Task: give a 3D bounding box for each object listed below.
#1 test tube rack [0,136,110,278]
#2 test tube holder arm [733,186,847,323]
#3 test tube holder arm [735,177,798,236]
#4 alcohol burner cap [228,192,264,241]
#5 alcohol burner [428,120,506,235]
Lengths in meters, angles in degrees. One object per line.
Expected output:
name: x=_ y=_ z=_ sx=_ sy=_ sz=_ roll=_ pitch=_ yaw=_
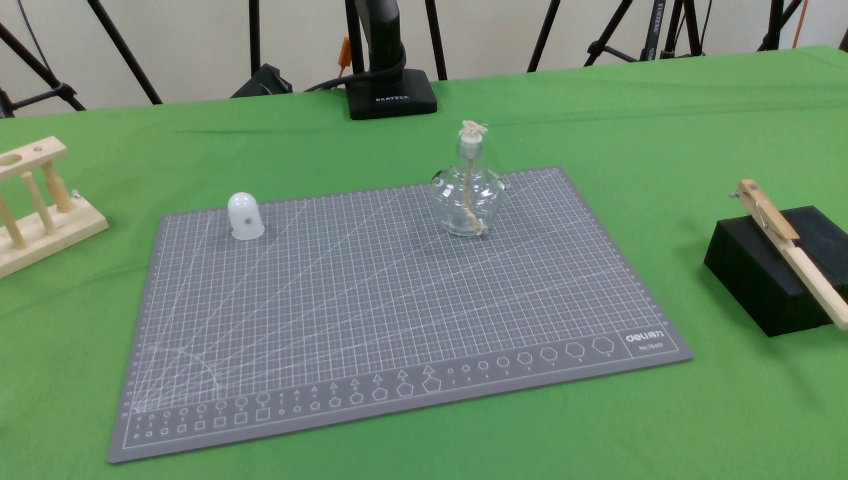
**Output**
test tube rack: x=-0.436 y=-0.004 z=0.558 sx=0.066 sy=0.086 sz=0.242 roll=31 pitch=49 yaw=32
test tube holder arm: x=0.307 y=0.004 z=0.511 sx=0.015 sy=0.013 sz=0.176 roll=-2 pitch=39 yaw=-2
test tube holder arm: x=0.305 y=-0.029 z=0.542 sx=0.015 sy=0.010 sz=0.087 roll=-2 pitch=40 yaw=-2
alcohol burner cap: x=-0.181 y=-0.026 z=0.610 sx=0.034 sy=0.048 sz=0.033 roll=-1 pitch=39 yaw=1
alcohol burner: x=0.043 y=-0.065 z=0.597 sx=0.078 sy=0.120 sz=0.077 roll=1 pitch=39 yaw=0
